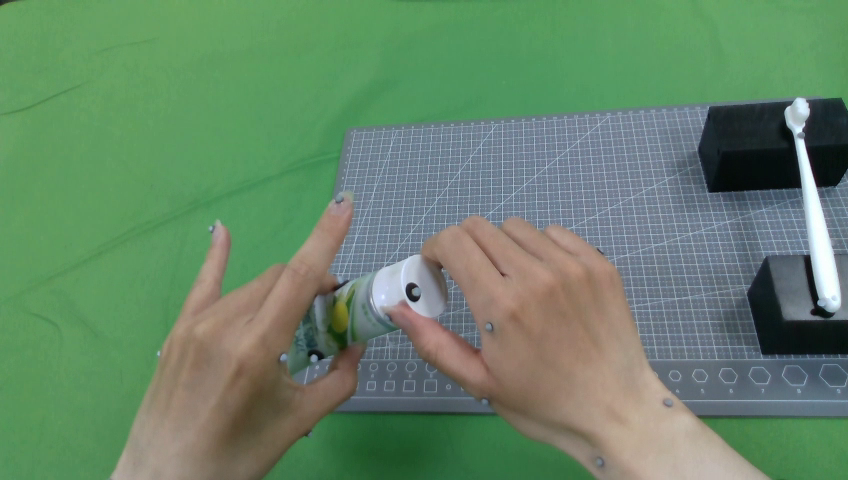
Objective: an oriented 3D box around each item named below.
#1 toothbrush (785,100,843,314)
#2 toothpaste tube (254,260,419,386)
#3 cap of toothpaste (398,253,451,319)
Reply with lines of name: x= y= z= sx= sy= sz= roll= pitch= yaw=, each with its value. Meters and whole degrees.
toothbrush: x=0.272 y=-0.031 z=0.422 sx=0.014 sy=0.017 sz=0.180 roll=12 pitch=58 yaw=1
toothpaste tube: x=-0.057 y=0.048 z=0.371 sx=0.165 sy=0.035 sz=0.054 roll=-24 pitch=66 yaw=38
cap of toothpaste: x=-0.001 y=0.025 z=0.321 sx=0.011 sy=0.038 sz=0.037 roll=-23 pitch=44 yaw=38
